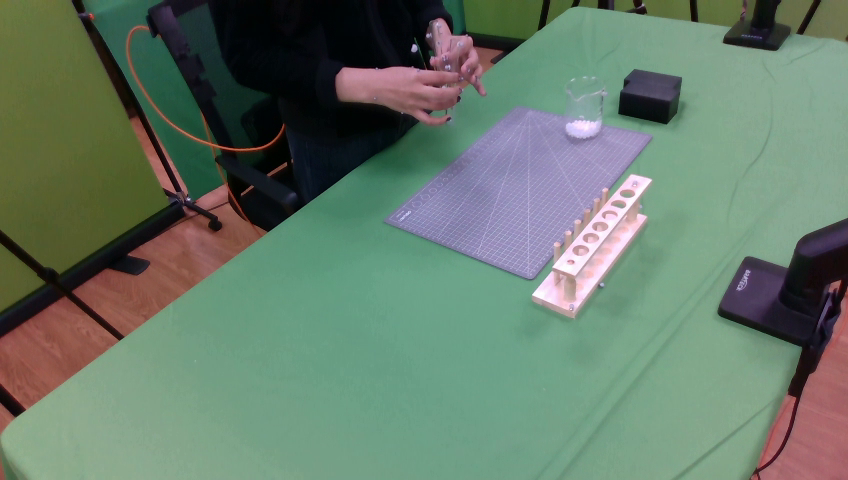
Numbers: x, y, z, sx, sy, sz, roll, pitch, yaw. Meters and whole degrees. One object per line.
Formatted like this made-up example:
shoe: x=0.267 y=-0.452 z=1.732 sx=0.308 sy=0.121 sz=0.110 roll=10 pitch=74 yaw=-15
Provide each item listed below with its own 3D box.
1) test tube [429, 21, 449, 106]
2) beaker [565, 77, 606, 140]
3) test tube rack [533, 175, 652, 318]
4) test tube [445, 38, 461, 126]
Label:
test tube: x=0.027 y=-0.294 z=1.021 sx=0.017 sy=0.151 sz=0.017 roll=-6 pitch=41 yaw=6
beaker: x=0.304 y=-0.247 z=1.153 sx=0.073 sy=0.101 sz=0.084 roll=15 pitch=47 yaw=27
test tube rack: x=0.250 y=-0.001 z=0.889 sx=0.066 sy=0.085 sz=0.243 roll=22 pitch=49 yaw=33
test tube: x=0.048 y=-0.263 z=1.019 sx=0.017 sy=0.151 sz=0.017 roll=2 pitch=35 yaw=-1
